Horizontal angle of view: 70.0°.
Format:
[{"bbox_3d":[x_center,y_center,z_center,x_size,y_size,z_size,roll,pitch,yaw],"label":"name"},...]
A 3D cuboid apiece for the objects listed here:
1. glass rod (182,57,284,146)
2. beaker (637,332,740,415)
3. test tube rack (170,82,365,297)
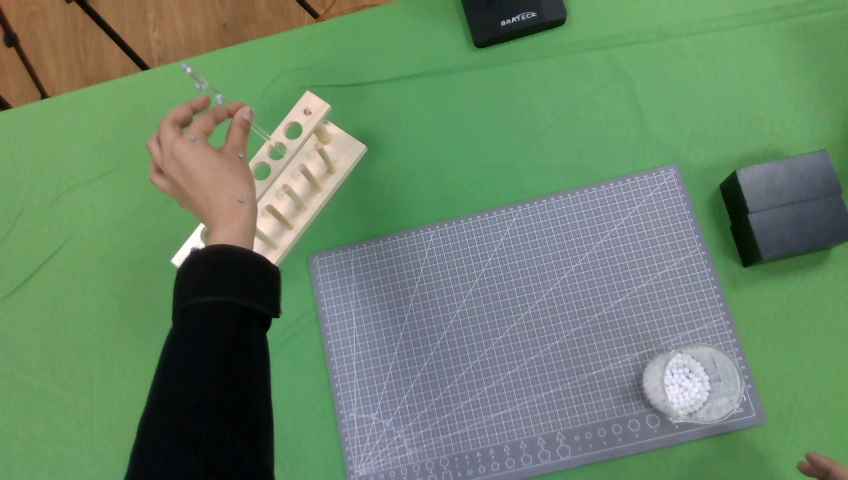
[{"bbox_3d":[-0.178,-0.128,0.600,0.008,0.201,0.008,-3,76,13],"label":"glass rod"},{"bbox_3d":[0.258,0.138,0.609,0.073,0.101,0.084,38,84,13],"label":"beaker"},{"bbox_3d":[-0.174,-0.055,0.703,0.066,0.085,0.242,35,83,13],"label":"test tube rack"}]
